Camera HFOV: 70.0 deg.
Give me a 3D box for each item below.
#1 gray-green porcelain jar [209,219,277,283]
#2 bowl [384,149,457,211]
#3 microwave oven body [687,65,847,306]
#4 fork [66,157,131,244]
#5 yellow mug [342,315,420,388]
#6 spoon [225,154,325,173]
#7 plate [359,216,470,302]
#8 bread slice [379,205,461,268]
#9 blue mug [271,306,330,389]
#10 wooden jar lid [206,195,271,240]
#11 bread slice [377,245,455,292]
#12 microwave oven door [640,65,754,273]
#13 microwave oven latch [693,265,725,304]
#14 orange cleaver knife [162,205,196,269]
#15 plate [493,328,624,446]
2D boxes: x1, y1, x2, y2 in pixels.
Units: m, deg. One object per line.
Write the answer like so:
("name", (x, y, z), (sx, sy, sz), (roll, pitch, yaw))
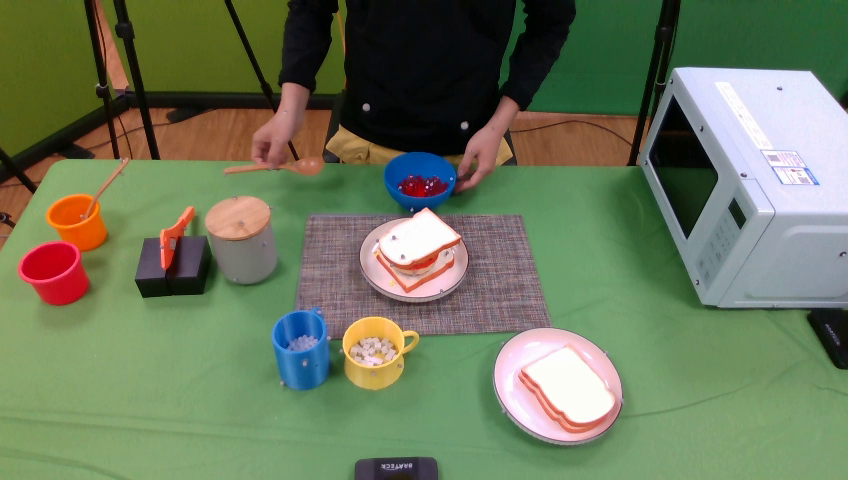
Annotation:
("gray-green porcelain jar", (-0.323, 0.007, 1.092), (0.106, 0.127, 0.105), (2, 46, -2))
("bowl", (-0.009, -0.112, 1.262), (0.151, 0.077, 0.150), (2, 46, -2))
("microwave oven body", (0.669, -0.111, 1.176), (0.326, 0.261, 0.439), (0, 46, -3))
("fork", (-0.608, -0.074, 1.132), (0.207, 0.019, 0.028), (-52, 48, 10))
("yellow mug", (-0.068, 0.177, 0.990), (0.131, 0.064, 0.099), (-16, 50, -19))
("spoon", (-0.297, -0.149, 1.212), (0.194, 0.021, 0.041), (-5, 75, -16))
("plate", (-0.019, 0.038, 1.140), (0.209, 0.038, 0.208), (2, 46, -2))
("bread slice", (-0.013, -0.002, 1.097), (0.134, 0.018, 0.106), (-34, 50, -22))
("blue mug", (-0.188, 0.163, 0.969), (0.082, 0.106, 0.116), (15, 47, 10))
("wooden jar lid", (-0.319, -0.036, 1.046), (0.108, 0.021, 0.107), (1, 44, -1))
("bread slice", (-0.010, 0.033, 1.149), (0.131, 0.019, 0.104), (-28, 55, -24))
("microwave oven door", (0.523, -0.147, 1.193), (0.039, 0.245, 0.353), (0, 47, -3))
("microwave oven latch", (0.523, 0.081, 1.116), (0.030, 0.029, 0.078), (2, 46, -1))
("orange cleaver knife", (-0.454, -0.010, 1.129), (0.012, 0.077, 0.210), (-2, 20, -5))
("plate", (0.213, 0.236, 0.974), (0.208, 0.039, 0.206), (2, 46, -2))
